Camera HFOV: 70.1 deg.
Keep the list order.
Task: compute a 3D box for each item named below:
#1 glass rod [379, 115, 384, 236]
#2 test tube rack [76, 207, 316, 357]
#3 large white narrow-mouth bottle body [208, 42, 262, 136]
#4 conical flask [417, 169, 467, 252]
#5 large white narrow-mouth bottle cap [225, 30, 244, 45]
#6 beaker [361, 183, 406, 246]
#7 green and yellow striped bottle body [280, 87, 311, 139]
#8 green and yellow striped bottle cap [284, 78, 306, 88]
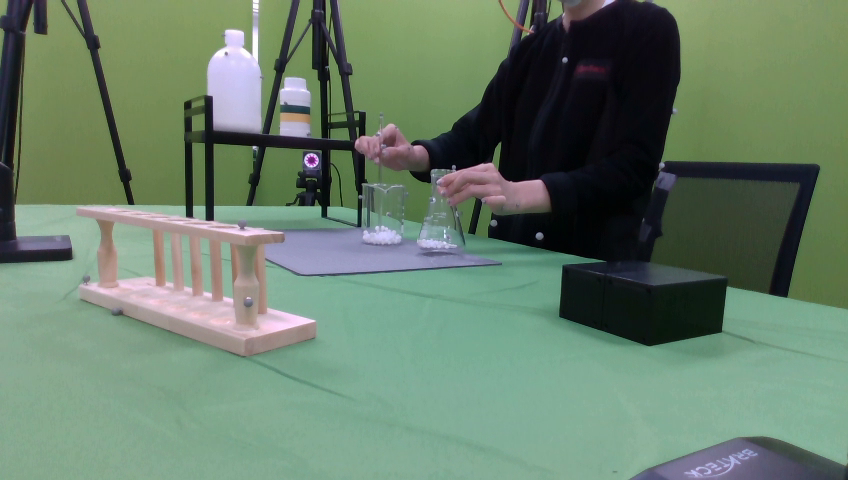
[{"bbox_3d":[-0.071,-0.106,1.002,0.008,0.199,0.008,1,9,0],"label":"glass rod"},{"bbox_3d":[-0.196,0.023,0.500,0.241,0.085,0.067,8,9,36],"label":"test tube rack"},{"bbox_3d":[-0.368,-0.304,1.181,0.102,0.194,0.101,2,9,0],"label":"large white narrow-mouth bottle body"},{"bbox_3d":[0.028,-0.044,0.900,0.075,0.122,0.075,1,2,0],"label":"conical flask"},{"bbox_3d":[-0.365,-0.390,1.166,0.038,0.024,0.037,2,9,0],"label":"large white narrow-mouth bottle cap"},{"bbox_3d":[-0.067,-0.042,0.993,0.074,0.100,0.084,1,8,-8],"label":"beaker"},{"bbox_3d":[-0.269,-0.274,1.266,0.063,0.119,0.063,3,7,0],"label":"green and yellow striped bottle body"},{"bbox_3d":[-0.268,-0.325,1.259,0.045,0.020,0.045,5,8,0],"label":"green and yellow striped bottle cap"}]
